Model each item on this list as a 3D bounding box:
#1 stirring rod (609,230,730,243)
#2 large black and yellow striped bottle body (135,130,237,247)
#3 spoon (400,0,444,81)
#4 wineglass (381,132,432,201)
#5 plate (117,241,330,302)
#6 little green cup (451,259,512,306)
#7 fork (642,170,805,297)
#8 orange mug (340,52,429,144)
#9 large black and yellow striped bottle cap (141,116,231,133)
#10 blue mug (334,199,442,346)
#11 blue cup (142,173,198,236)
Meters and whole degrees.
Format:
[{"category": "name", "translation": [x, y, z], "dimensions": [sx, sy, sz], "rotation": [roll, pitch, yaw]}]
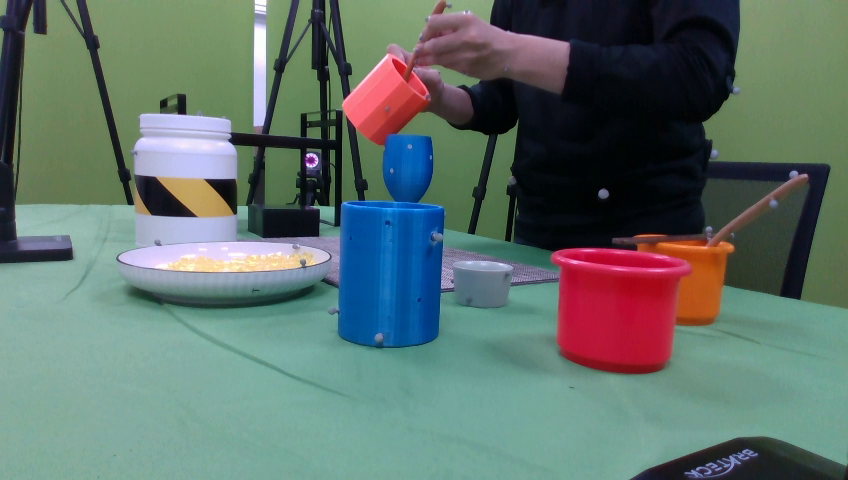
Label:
[{"category": "stirring rod", "translation": [0.241, -0.004, 0.582], "dimensions": [0.177, 0.006, 0.014], "rotation": [-4, 10, -33]}, {"category": "large black and yellow striped bottle body", "translation": [-0.327, -0.074, 0.838], "dimensions": [0.131, 0.184, 0.130], "rotation": [2, 7, 0]}, {"category": "spoon", "translation": [-0.020, -0.242, 0.827], "dimensions": [0.042, 0.193, 0.021], "rotation": [23, 37, -12]}, {"category": "wineglass", "translation": [-0.026, -0.062, 0.841], "dimensions": [0.074, 0.172, 0.073], "rotation": [2, 8, 0]}, {"category": "plate", "translation": [-0.203, 0.031, 0.630], "dimensions": [0.209, 0.038, 0.209], "rotation": [3, 7, 0]}, {"category": "little green cup", "translation": [0.057, 0.043, 0.611], "dimensions": [0.061, 0.038, 0.061], "rotation": [3, 8, 0]}, {"category": "fork", "translation": [0.261, 0.003, 0.545], "dimensions": [0.028, 0.018, 0.207], "rotation": [5, -37, -15]}, {"category": "orange mug", "translation": [-0.055, -0.210, 0.876], "dimensions": [0.084, 0.100, 0.126], "rotation": [41, 27, -21]}, {"category": "large black and yellow striped bottle cap", "translation": [-0.324, -0.157, 0.826], "dimensions": [0.115, 0.019, 0.115], "rotation": [1, 7, 0]}, {"category": "blue mug", "translation": [-0.034, 0.020, 0.498], "dimensions": [0.083, 0.106, 0.116], "rotation": [0, 7, -20]}, {"category": "blue cup", "translation": [-0.425, -0.060, 1.014], "dimensions": [0.093, 0.100, 0.092], "rotation": [4, 9, 0]}]
